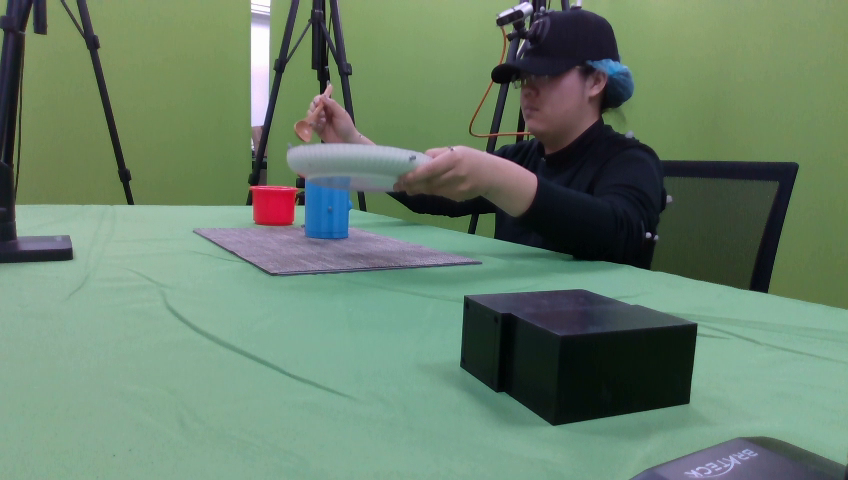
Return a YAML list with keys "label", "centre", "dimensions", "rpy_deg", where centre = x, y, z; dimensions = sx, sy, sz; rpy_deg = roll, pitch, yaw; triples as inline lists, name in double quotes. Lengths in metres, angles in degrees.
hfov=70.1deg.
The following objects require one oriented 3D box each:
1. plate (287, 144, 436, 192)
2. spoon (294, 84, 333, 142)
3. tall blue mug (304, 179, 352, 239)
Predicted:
- label: "plate"
  centre: [-0.087, -0.095, 0.845]
  dimensions: [0.208, 0.039, 0.207]
  rpy_deg: [2, -3, 0]
- label: "spoon"
  centre: [-0.218, -0.262, 1.223]
  dimensions: [0.021, 0.042, 0.193]
  rpy_deg: [-21, 34, 38]
- label: "tall blue mug"
  centre: [-0.178, -0.063, 1.062]
  dimensions: [0.078, 0.108, 0.106]
  rpy_deg: [-4, 10, -38]
